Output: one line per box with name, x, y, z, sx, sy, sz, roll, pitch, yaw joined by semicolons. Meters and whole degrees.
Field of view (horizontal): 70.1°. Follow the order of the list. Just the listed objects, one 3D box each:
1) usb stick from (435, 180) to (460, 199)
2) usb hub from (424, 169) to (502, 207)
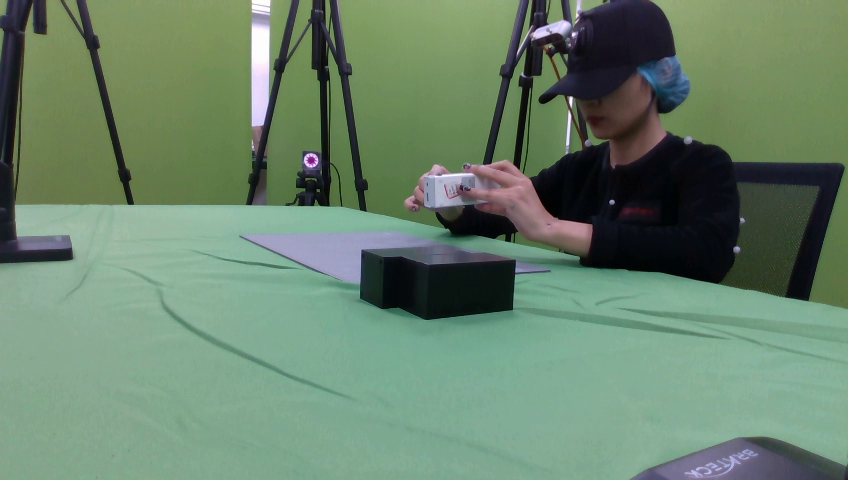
usb stick;0.039;-0.080;0.960;0.021;0.027;0.059;-17;11;-20
usb hub;0.061;-0.081;0.930;0.126;0.049;0.025;-8;13;-26
